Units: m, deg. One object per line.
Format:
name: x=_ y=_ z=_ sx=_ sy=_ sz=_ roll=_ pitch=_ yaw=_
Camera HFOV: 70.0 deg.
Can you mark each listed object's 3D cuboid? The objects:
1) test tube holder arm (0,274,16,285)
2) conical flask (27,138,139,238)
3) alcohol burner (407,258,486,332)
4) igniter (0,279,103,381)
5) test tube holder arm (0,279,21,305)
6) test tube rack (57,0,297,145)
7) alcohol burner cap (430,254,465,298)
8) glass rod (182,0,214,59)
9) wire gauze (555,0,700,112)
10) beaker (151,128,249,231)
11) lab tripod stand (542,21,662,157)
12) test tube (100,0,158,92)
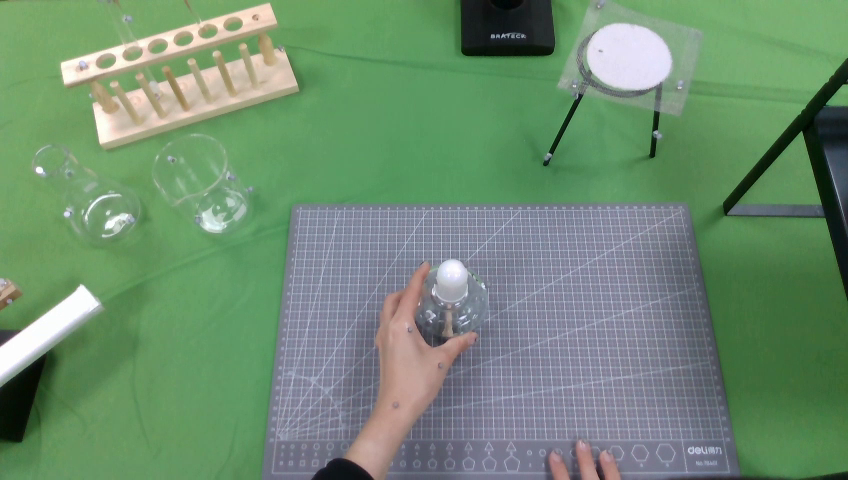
test tube holder arm: x=-0.469 y=0.096 z=0.571 sx=0.013 sy=0.015 sz=0.178 roll=42 pitch=72 yaw=17
conical flask: x=-0.361 y=-0.058 z=0.635 sx=0.075 sy=0.123 sz=0.075 roll=0 pitch=65 yaw=1
alcohol burner: x=0.023 y=0.046 z=0.585 sx=0.078 sy=0.120 sz=0.077 roll=1 pitch=64 yaw=-2
igniter: x=-0.423 y=0.136 z=0.550 sx=0.057 sy=0.025 sz=0.276 roll=42 pitch=70 yaw=15
test tube holder arm: x=-0.433 y=0.071 z=0.583 sx=0.088 sy=0.015 sz=0.010 roll=-41 pitch=72 yaw=-17
test tube rack: x=-0.285 y=-0.198 z=0.718 sx=0.242 sy=0.086 sz=0.066 roll=-20 pitch=67 yaw=-8
alcohol burner cap: x=0.023 y=0.030 z=0.553 sx=0.034 sy=0.048 sz=0.033 roll=1 pitch=64 yaw=-2
glass rod: x=-0.262 y=-0.258 z=0.672 sx=0.008 sy=0.201 sz=0.008 roll=-3 pitch=59 yaw=6
wire gauze: x=0.208 y=-0.190 z=0.610 sx=0.121 sy=0.011 sz=0.124 roll=20 pitch=68 yaw=7
beaker: x=-0.235 y=-0.057 z=0.647 sx=0.074 sy=0.101 sz=0.083 roll=14 pitch=67 yaw=8
lab tripod stand: x=0.201 y=-0.161 z=0.671 sx=0.148 sy=0.132 sz=0.147 roll=1 pitch=65 yaw=-1
test tube: x=-0.329 y=-0.223 z=0.674 sx=0.017 sy=0.151 sz=0.017 roll=0 pitch=59 yaw=0
